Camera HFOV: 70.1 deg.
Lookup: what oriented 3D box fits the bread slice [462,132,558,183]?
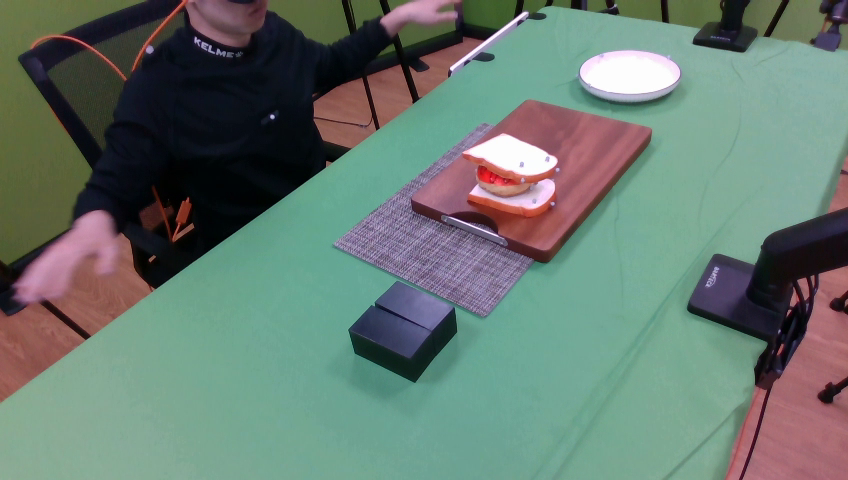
[{"bbox_3d":[0.146,-0.131,0.971,0.133,0.018,0.107,29,43,31],"label":"bread slice"}]

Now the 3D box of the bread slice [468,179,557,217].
[{"bbox_3d":[0.154,-0.083,1.003,0.130,0.019,0.105,19,48,29],"label":"bread slice"}]

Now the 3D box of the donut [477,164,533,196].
[{"bbox_3d":[0.136,-0.109,0.991,0.099,0.048,0.098,-4,39,3],"label":"donut"}]

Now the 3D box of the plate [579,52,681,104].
[{"bbox_3d":[0.437,-0.343,1.294,0.209,0.038,0.208,-4,40,4],"label":"plate"}]
